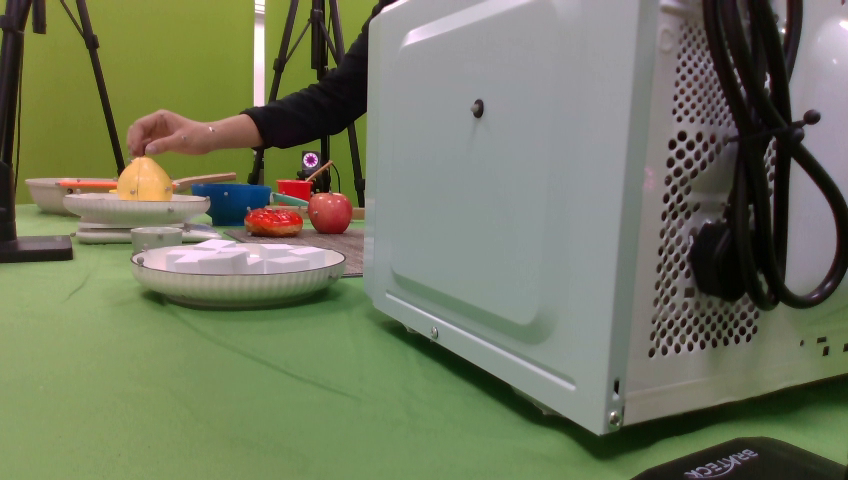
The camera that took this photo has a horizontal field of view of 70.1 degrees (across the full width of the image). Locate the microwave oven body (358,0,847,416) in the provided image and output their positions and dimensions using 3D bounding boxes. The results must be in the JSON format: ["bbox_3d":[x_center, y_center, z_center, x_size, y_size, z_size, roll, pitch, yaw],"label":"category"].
[{"bbox_3d":[0.211,-0.047,0.474,0.444,0.260,0.324,-1,7,-28],"label":"microwave oven body"}]

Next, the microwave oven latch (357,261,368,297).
[{"bbox_3d":[-0.019,0.033,0.531,0.079,0.029,0.030,-1,7,-27],"label":"microwave oven latch"}]

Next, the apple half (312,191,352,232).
[{"bbox_3d":[-0.160,-0.050,1.101,0.053,0.074,0.081,9,7,23],"label":"apple half"}]

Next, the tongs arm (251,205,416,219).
[{"bbox_3d":[-0.210,-0.066,1.440,0.389,0.027,0.028,0,-2,-17],"label":"tongs arm"}]

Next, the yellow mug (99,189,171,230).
[{"bbox_3d":[-0.519,-0.055,1.080,0.099,0.064,0.131,7,9,26],"label":"yellow mug"}]

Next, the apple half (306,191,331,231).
[{"bbox_3d":[-0.197,-0.055,1.114,0.032,0.081,0.081,9,10,21],"label":"apple half"}]

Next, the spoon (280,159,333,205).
[{"bbox_3d":[-0.317,-0.159,1.640,0.194,0.022,0.041,-49,32,-20],"label":"spoon"}]

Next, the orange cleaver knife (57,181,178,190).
[{"bbox_3d":[-0.600,-0.109,1.189,0.212,0.012,0.077,-1,11,-26],"label":"orange cleaver knife"}]

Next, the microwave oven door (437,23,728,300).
[{"bbox_3d":[0.180,-0.073,0.621,0.358,0.243,0.039,-2,9,-29],"label":"microwave oven door"}]

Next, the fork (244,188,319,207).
[{"bbox_3d":[-0.356,-0.105,1.526,0.208,0.018,0.028,16,-5,-41],"label":"fork"}]

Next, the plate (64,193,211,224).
[{"bbox_3d":[-0.446,-0.051,0.951,0.209,0.038,0.209,2,7,0],"label":"plate"}]

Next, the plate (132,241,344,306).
[{"bbox_3d":[-0.187,0.033,0.625,0.208,0.039,0.207,2,7,0],"label":"plate"}]

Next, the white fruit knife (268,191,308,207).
[{"bbox_3d":[-0.364,-0.105,1.464,0.208,0.027,0.016,15,0,-34],"label":"white fruit knife"}]

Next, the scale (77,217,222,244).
[{"bbox_3d":[-0.434,-0.018,0.963,0.202,0.031,0.148,-1,8,-27],"label":"scale"}]

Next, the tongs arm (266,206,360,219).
[{"bbox_3d":[-0.173,-0.061,1.362,0.387,0.026,0.050,-1,2,-31],"label":"tongs arm"}]

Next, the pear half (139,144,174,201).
[{"bbox_3d":[-0.423,-0.094,0.949,0.056,0.110,0.076,-2,12,-33],"label":"pear half"}]

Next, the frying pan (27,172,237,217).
[{"bbox_3d":[-0.624,-0.118,1.387,0.305,0.102,0.490,8,17,32],"label":"frying pan"}]

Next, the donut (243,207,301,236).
[{"bbox_3d":[-0.262,-0.031,1.044,0.099,0.048,0.099,5,10,-1],"label":"donut"}]

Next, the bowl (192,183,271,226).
[{"bbox_3d":[-0.382,-0.070,1.202,0.151,0.077,0.151,3,7,0],"label":"bowl"}]

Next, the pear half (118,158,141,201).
[{"bbox_3d":[-0.454,-0.083,0.932,0.031,0.088,0.070,-2,11,-34],"label":"pear half"}]

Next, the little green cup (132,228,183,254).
[{"bbox_3d":[-0.342,0.006,0.779,0.061,0.038,0.061,2,8,0],"label":"little green cup"}]
